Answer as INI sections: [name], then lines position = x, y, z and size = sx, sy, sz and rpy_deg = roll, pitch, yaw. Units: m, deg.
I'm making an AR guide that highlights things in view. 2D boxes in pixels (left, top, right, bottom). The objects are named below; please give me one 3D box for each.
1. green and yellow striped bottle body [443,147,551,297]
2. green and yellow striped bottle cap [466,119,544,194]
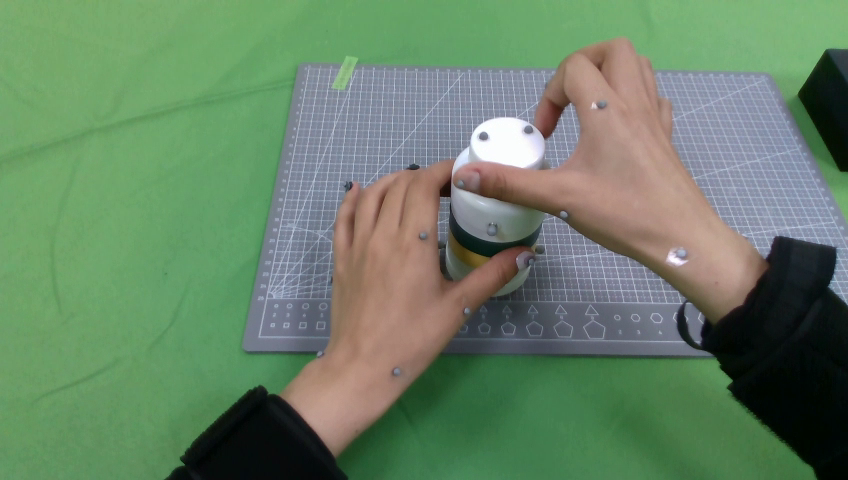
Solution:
[green and yellow striped bottle body]
position = 0.046, -0.018, 0.396
size = 0.063, 0.120, 0.062
rpy_deg = 1, 54, -1
[green and yellow striped bottle cap]
position = 0.047, -0.049, 0.353
size = 0.045, 0.020, 0.045
rpy_deg = 1, 55, -1
